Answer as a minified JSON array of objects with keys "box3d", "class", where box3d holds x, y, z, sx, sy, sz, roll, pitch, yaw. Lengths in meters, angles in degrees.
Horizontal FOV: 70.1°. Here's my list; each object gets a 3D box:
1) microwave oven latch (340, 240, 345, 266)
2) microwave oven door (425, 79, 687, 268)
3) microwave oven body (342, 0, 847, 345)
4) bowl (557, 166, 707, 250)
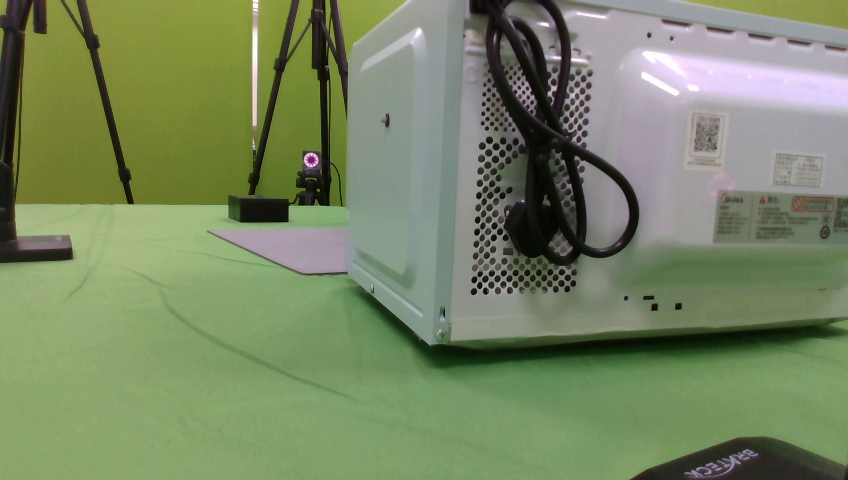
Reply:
[{"box3d":[-0.052,0.016,0.662,0.079,0.029,0.030,1,7,-18],"class":"microwave oven latch"},{"box3d":[0.171,-0.100,0.855,0.354,0.243,0.039,6,9,26],"class":"microwave oven door"},{"box3d":[0.169,-0.060,0.573,0.444,0.260,0.324,1,7,-20],"class":"microwave oven body"},{"box3d":[0.214,-0.035,0.640,0.151,0.077,0.151,2,11,0],"class":"bowl"}]
